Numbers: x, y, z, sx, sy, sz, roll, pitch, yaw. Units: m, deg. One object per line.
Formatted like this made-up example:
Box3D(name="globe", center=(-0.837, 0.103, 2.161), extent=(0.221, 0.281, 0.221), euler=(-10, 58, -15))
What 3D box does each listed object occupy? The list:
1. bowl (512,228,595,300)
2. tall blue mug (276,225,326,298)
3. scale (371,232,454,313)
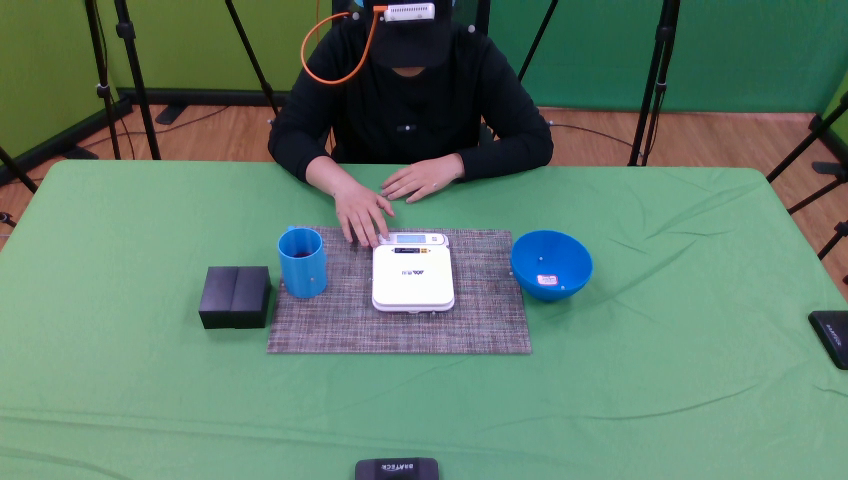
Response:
Box3D(name="bowl", center=(0.231, 0.058, 1.118), extent=(0.151, 0.077, 0.150), euler=(2, 46, -2))
Box3D(name="tall blue mug", center=(-0.228, 0.033, 1.083), extent=(0.107, 0.108, 0.077), euler=(30, 53, 23))
Box3D(name="scale", center=(-0.023, 0.051, 1.134), extent=(0.149, 0.032, 0.199), euler=(1, 46, -4))
